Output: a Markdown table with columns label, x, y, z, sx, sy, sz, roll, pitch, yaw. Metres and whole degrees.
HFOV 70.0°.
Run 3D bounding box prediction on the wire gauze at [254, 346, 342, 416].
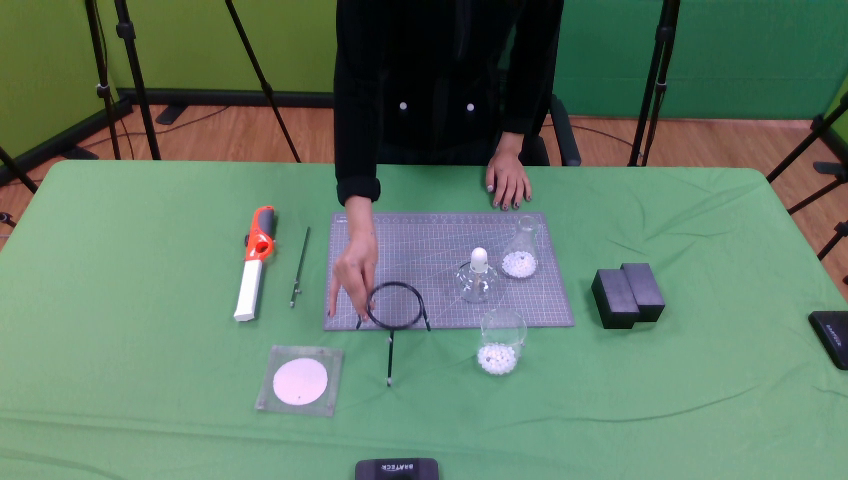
| label | x | y | z | sx | sy | sz | roll | pitch | yaw |
| --- | --- | --- | --- | --- | --- | --- | --- | --- | --- |
| wire gauze | -0.201 | 0.223 | 0.978 | 0.125 | 0.011 | 0.121 | 4 | 45 | 1 |

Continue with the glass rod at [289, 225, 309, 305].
| label | x | y | z | sx | sy | sz | roll | pitch | yaw |
| --- | --- | --- | --- | --- | --- | --- | --- | --- | --- |
| glass rod | -0.236 | 0.042 | 1.149 | 0.008 | 0.008 | 0.198 | 3 | 47 | -1 |

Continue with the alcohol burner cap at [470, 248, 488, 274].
| label | x | y | z | sx | sy | sz | roll | pitch | yaw |
| --- | --- | --- | --- | --- | --- | --- | --- | --- | --- |
| alcohol burner cap | 0.096 | 0.034 | 1.057 | 0.034 | 0.048 | 0.033 | -3 | 53 | 4 |

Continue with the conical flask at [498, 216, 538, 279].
| label | x | y | z | sx | sy | sz | roll | pitch | yaw |
| --- | --- | --- | --- | --- | --- | --- | --- | --- | --- |
| conical flask | 0.183 | 0.010 | 1.132 | 0.075 | 0.122 | 0.075 | 2 | 46 | -2 |

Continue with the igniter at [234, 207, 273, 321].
| label | x | y | z | sx | sy | sz | roll | pitch | yaw |
| --- | --- | --- | --- | --- | --- | --- | --- | --- | --- |
| igniter | -0.318 | 0.035 | 1.138 | 0.057 | 0.025 | 0.274 | -7 | 46 | 3 |

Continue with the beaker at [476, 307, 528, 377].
| label | x | y | z | sx | sy | sz | roll | pitch | yaw |
| --- | --- | --- | --- | --- | --- | --- | --- | --- | --- |
| beaker | 0.122 | 0.171 | 0.991 | 0.084 | 0.101 | 0.073 | -34 | 56 | -31 |

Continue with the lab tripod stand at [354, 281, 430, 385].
| label | x | y | z | sx | sy | sz | roll | pitch | yaw |
| --- | --- | --- | --- | --- | --- | --- | --- | --- | --- |
| lab tripod stand | -0.049 | 0.136 | 0.974 | 0.148 | 0.132 | 0.147 | 3 | 48 | -4 |

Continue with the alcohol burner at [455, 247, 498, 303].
| label | x | y | z | sx | sy | sz | roll | pitch | yaw |
| --- | --- | --- | --- | --- | --- | --- | --- | --- | --- |
| alcohol burner | 0.095 | 0.057 | 1.084 | 0.078 | 0.120 | 0.077 | 1 | 47 | -1 |
